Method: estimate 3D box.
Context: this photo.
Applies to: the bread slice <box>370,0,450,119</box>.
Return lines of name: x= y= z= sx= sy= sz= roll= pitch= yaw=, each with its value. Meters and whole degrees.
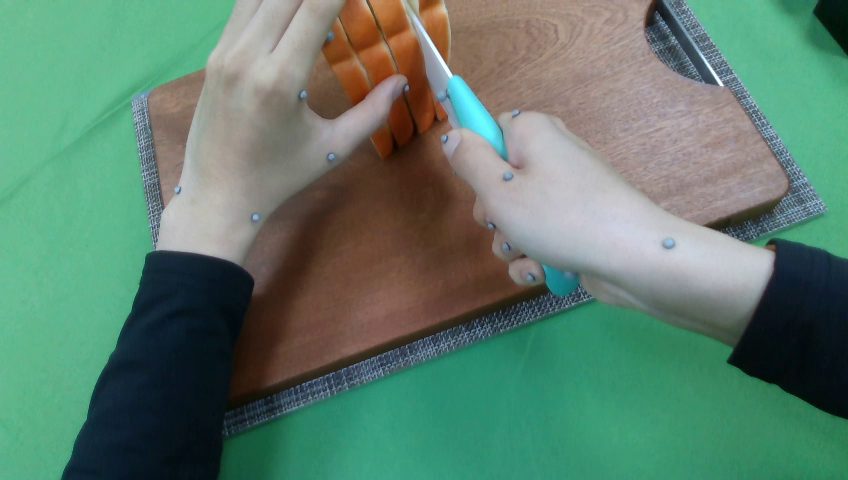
bread slice: x=-0.012 y=-0.156 z=0.397 sx=0.019 sy=0.132 sz=0.104 roll=-26 pitch=66 yaw=-8

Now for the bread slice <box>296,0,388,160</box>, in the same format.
bread slice: x=-0.061 y=-0.129 z=0.394 sx=0.018 sy=0.135 sz=0.106 roll=-26 pitch=63 yaw=-2

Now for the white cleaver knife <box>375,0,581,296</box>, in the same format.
white cleaver knife: x=0.014 y=-0.091 z=0.366 sx=0.021 sy=0.066 sz=0.284 roll=-26 pitch=70 yaw=-3
